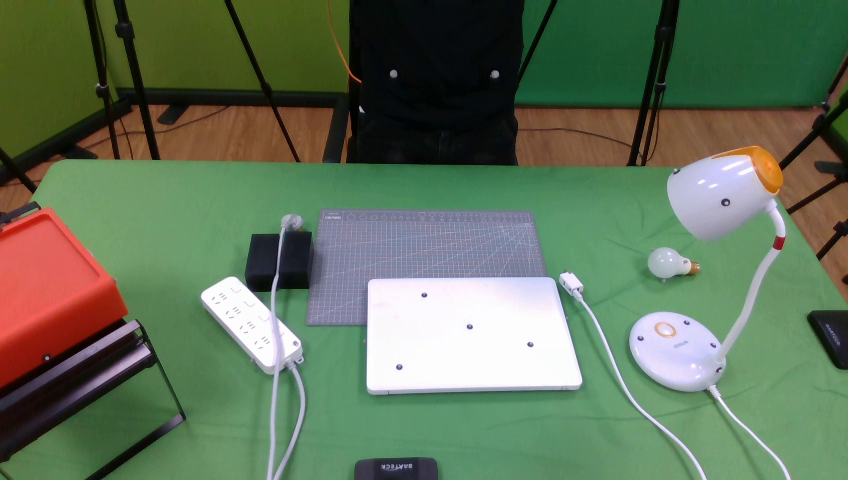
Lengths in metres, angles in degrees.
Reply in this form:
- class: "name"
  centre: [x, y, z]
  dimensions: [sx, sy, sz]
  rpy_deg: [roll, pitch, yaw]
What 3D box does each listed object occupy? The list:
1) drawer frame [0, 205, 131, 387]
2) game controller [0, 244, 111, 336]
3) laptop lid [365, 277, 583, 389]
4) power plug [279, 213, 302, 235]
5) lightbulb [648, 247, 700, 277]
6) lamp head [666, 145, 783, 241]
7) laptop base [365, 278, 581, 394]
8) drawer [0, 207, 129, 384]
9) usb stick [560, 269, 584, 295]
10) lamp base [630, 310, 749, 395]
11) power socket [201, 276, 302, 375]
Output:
- class: "drawer frame"
  centre: [-0.539, 0.075, 0.795]
  dimensions: [0.200, 0.083, 0.213]
  rpy_deg: [36, 55, 26]
- class: "game controller"
  centre: [-0.510, 0.061, 0.830]
  dimensions: [0.097, 0.052, 0.154]
  rpy_deg: [-31, 58, -30]
- class: "laptop lid"
  centre: [0.077, 0.152, 1.046]
  dimensions: [0.357, 0.013, 0.240]
  rpy_deg: [1, 45, -3]
- class: "power plug"
  centre: [-0.264, -0.022, 1.184]
  dimensions: [0.035, 0.053, 0.072]
  rpy_deg: [-1, 48, 32]
- class: "lightbulb"
  centre: [0.485, 0.046, 1.170]
  dimensions: [0.108, 0.060, 0.059]
  rpy_deg: [10, 45, -15]
- class: "lamp head"
  centre: [0.408, -0.067, 0.806]
  dimensions: [0.113, 0.123, 0.112]
  rpy_deg: [15, 63, -32]
- class: "laptop base"
  centre: [0.077, 0.162, 1.053]
  dimensions: [0.355, 0.023, 0.234]
  rpy_deg: [0, 44, -4]
- class: "drawer"
  centre: [-0.539, 0.074, 0.798]
  dimensions: [0.193, 0.073, 0.211]
  rpy_deg: [37, 55, 27]
- class: "usb stick"
  centre: [0.275, 0.077, 1.142]
  dimensions: [0.027, 0.021, 0.059]
  rpy_deg: [-12, 39, -12]
- class: "lamp base"
  centre: [0.447, 0.142, 0.984]
  dimensions: [0.161, 0.181, 0.178]
  rpy_deg: [-24, 55, -24]
- class: "power socket"
  centre: [-0.296, 0.142, 1.034]
  dimensions: [0.072, 0.033, 0.225]
  rpy_deg: [-34, 58, -30]
